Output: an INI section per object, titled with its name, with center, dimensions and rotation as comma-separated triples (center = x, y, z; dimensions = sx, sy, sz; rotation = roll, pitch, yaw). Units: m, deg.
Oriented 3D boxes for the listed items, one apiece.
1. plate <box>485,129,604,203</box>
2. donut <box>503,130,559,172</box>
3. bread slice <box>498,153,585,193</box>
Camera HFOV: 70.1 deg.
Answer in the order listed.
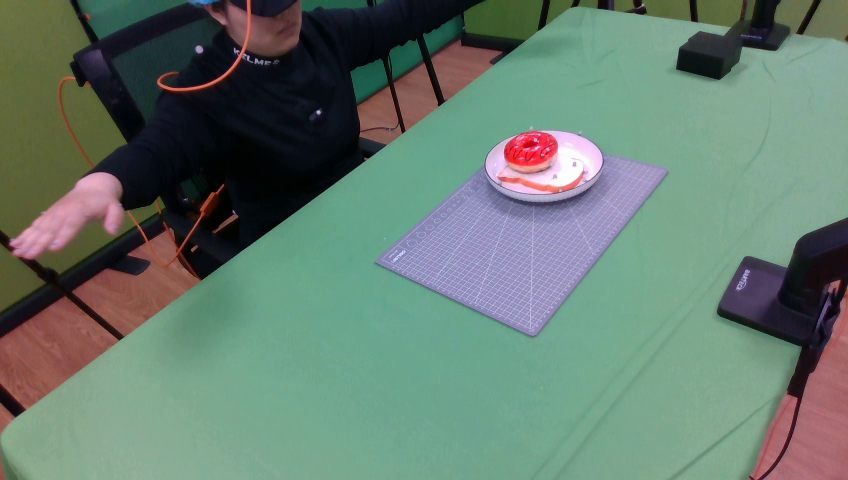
[plate]
center = 0.213, -0.129, 1.079
dimensions = 0.209, 0.038, 0.208
rotation = -5, 40, 5
[donut]
center = 0.190, -0.158, 1.076
dimensions = 0.099, 0.048, 0.098
rotation = -8, 40, 8
[bread slice]
center = 0.215, -0.125, 1.076
dimensions = 0.133, 0.018, 0.107
rotation = 17, 48, 28
